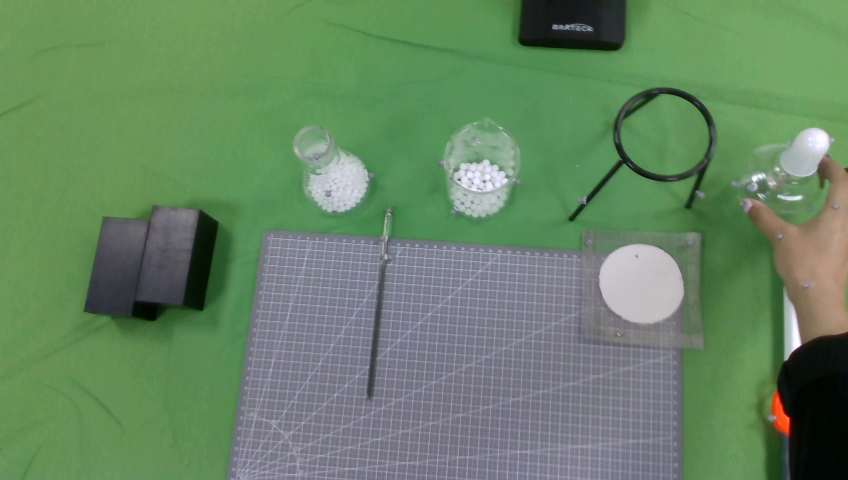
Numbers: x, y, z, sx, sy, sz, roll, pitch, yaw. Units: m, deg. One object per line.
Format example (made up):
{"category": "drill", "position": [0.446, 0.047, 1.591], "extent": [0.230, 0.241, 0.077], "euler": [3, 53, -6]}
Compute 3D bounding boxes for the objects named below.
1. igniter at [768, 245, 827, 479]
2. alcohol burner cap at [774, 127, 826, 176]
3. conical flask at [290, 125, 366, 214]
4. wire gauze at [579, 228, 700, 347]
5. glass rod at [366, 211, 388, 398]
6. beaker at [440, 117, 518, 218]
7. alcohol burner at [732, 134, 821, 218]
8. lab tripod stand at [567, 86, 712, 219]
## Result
{"category": "igniter", "position": [0.370, 0.141, 0.601], "extent": [0.057, 0.025, 0.275], "euler": [8, 78, -6]}
{"category": "alcohol burner cap", "position": [0.344, -0.083, 0.550], "extent": [0.034, 0.048, 0.033], "euler": [-3, 65, 7]}
{"category": "conical flask", "position": [-0.104, -0.077, 0.620], "extent": [0.075, 0.122, 0.075], "euler": [-1, 77, 3]}
{"category": "wire gauze", "position": [0.226, 0.048, 0.635], "extent": [0.125, 0.011, 0.121], "euler": [3, 77, 3]}
{"category": "glass rod", "position": [-0.050, 0.065, 0.641], "extent": [0.008, 0.008, 0.199], "euler": [4, 77, 3]}
{"category": "beaker", "position": [0.055, -0.070, 0.625], "extent": [0.074, 0.101, 0.083], "euler": [6, 76, 4]}
{"category": "alcohol burner", "position": [0.347, -0.068, 0.583], "extent": [0.078, 0.120, 0.077], "euler": [-2, 70, 5]}
{"category": "lab tripod stand", "position": [0.213, -0.079, 0.602], "extent": [0.148, 0.132, 0.147], "euler": [0, 79, 3]}
